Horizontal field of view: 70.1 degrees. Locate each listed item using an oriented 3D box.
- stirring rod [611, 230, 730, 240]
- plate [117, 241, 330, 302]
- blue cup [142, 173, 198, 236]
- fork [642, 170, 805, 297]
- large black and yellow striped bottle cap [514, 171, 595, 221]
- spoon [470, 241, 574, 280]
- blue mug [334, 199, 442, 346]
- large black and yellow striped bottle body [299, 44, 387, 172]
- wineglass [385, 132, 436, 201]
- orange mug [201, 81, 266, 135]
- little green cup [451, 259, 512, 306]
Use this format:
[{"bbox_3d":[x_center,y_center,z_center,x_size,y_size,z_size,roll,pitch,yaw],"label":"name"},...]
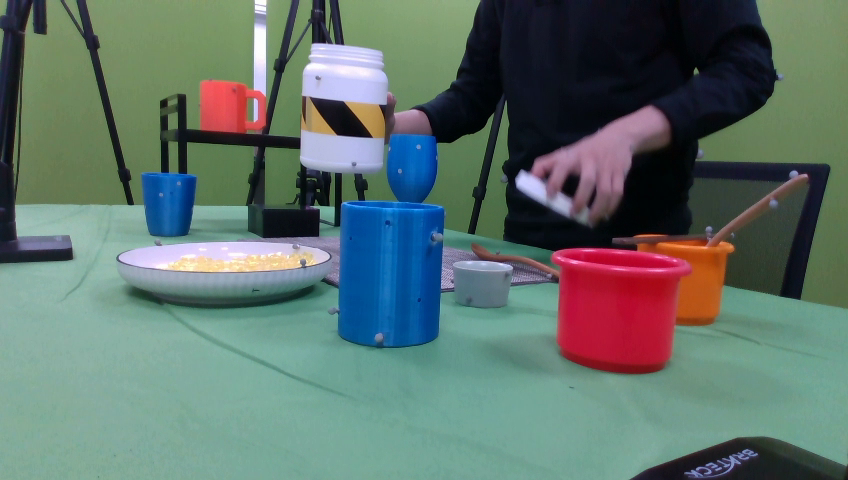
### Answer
[{"bbox_3d":[0.241,-0.005,0.581,0.177,0.006,0.014,-2,10,-34],"label":"stirring rod"},{"bbox_3d":[-0.203,0.031,0.630,0.209,0.038,0.209,3,7,0],"label":"plate"},{"bbox_3d":[-0.425,-0.060,1.014,0.093,0.100,0.092,4,9,0],"label":"blue cup"},{"bbox_3d":[0.261,0.004,0.545,0.028,0.018,0.207,5,-37,-15],"label":"fork"},{"bbox_3d":[0.174,-0.060,0.807,0.115,0.019,0.115,27,12,-6],"label":"large black and yellow striped bottle cap"},{"bbox_3d":[0.124,0.025,0.800,0.042,0.021,0.192,21,-5,-34],"label":"spoon"},{"bbox_3d":[-0.034,0.020,0.498,0.083,0.106,0.116,0,7,-20],"label":"blue mug"},{"bbox_3d":[-0.126,-0.205,0.943,0.131,0.184,0.130,5,13,-1],"label":"large black and yellow striped bottle body"},{"bbox_3d":[-0.020,-0.061,0.838,0.074,0.172,0.073,2,7,0],"label":"wineglass"},{"bbox_3d":[-0.376,-0.260,1.198,0.126,0.101,0.083,-3,8,-6],"label":"orange mug"},{"bbox_3d":[0.057,0.043,0.612,0.061,0.038,0.061,3,7,0],"label":"little green cup"}]
